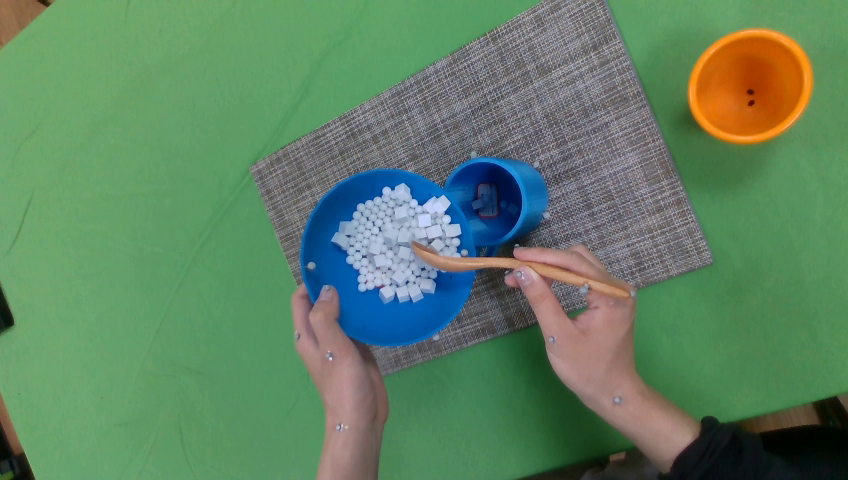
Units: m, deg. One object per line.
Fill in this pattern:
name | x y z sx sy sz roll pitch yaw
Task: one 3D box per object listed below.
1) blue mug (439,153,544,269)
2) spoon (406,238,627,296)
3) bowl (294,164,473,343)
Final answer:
blue mug | 0.064 -0.027 0.597 0.082 0.106 0.117 18 103 18
spoon | 0.062 0.019 0.468 0.192 0.042 0.021 7 76 37
bowl | -0.039 0.015 0.535 0.152 0.077 0.151 2 81 -14
